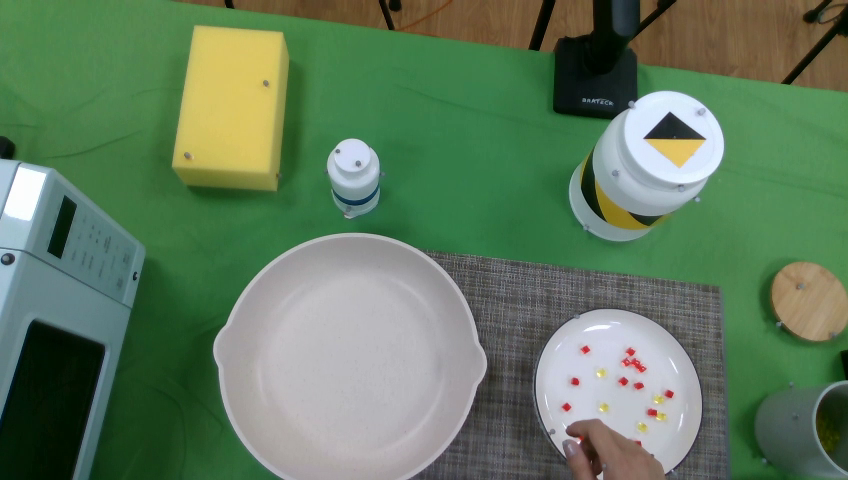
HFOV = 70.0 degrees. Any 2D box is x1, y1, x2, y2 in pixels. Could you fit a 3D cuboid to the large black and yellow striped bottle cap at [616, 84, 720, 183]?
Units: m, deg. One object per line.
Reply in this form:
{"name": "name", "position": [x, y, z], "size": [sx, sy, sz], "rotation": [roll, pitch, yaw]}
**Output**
{"name": "large black and yellow striped bottle cap", "position": [0.273, -0.120, 0.676], "size": [0.115, 0.019, 0.114], "rotation": [1, 75, -4]}

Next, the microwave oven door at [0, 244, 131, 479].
{"name": "microwave oven door", "position": [-0.376, 0.202, 0.561], "size": [0.039, 0.245, 0.353], "rotation": [7, 73, -2]}

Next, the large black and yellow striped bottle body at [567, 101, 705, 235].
{"name": "large black and yellow striped bottle body", "position": [0.265, -0.094, 0.755], "size": [0.131, 0.185, 0.130], "rotation": [1, 73, -4]}

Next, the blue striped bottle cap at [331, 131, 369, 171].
{"name": "blue striped bottle cap", "position": [-0.086, -0.105, 0.706], "size": [0.044, 0.021, 0.044], "rotation": [1, 75, -4]}

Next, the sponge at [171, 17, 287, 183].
{"name": "sponge", "position": [-0.252, -0.184, 0.799], "size": [0.118, 0.061, 0.205], "rotation": [2, 74, -5]}

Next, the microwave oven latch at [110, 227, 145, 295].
{"name": "microwave oven latch", "position": [-0.357, 0.024, 0.721], "size": [0.030, 0.029, 0.078], "rotation": [10, 73, -2]}

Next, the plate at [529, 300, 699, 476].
{"name": "plate", "position": [0.229, 0.178, 0.744], "size": [0.209, 0.038, 0.208], "rotation": [1, 73, -4]}

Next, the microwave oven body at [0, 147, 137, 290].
{"name": "microwave oven body", "position": [-0.516, 0.144, 0.570], "size": [0.326, 0.261, 0.439], "rotation": [8, 73, -3]}

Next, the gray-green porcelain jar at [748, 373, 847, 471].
{"name": "gray-green porcelain jar", "position": [0.458, 0.214, 0.711], "size": [0.106, 0.127, 0.105], "rotation": [1, 73, -4]}

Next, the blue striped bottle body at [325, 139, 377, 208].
{"name": "blue striped bottle body", "position": [-0.090, -0.089, 0.754], "size": [0.063, 0.121, 0.062], "rotation": [1, 73, -4]}

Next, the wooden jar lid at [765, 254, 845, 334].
{"name": "wooden jar lid", "position": [0.508, 0.073, 0.813], "size": [0.108, 0.021, 0.108], "rotation": [1, 75, -4]}

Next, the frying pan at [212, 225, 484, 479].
{"name": "frying pan", "position": [-0.094, 0.222, 0.668], "size": [0.307, 0.103, 0.484], "rotation": [6, 65, -1]}
